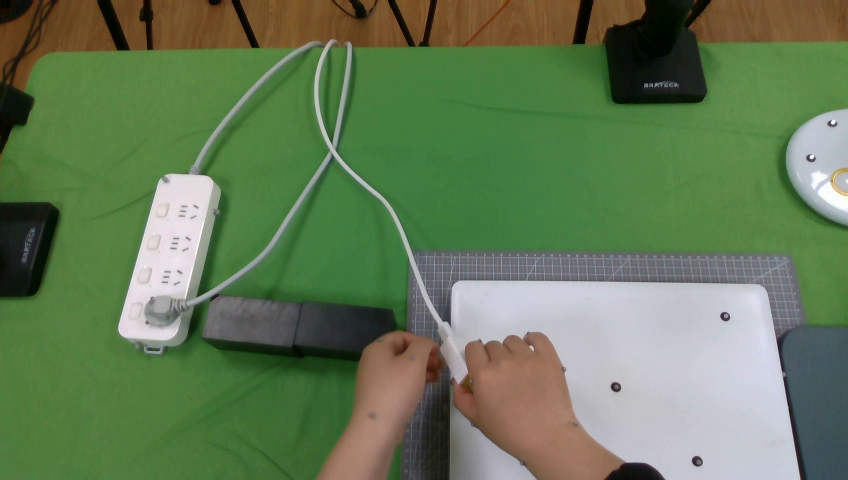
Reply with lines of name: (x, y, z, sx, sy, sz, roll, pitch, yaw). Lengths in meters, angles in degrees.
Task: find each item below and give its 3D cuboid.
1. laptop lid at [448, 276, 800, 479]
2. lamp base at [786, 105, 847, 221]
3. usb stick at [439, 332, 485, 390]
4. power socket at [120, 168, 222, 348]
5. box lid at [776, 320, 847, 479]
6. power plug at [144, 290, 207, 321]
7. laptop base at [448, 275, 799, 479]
laptop lid: (0.202, 0.152, 0.642, 0.356, 0.013, 0.240, 2, 70, 3)
lamp base: (0.530, -0.132, 0.673, 0.160, 0.181, 0.179, 33, 70, 15)
usb stick: (0.038, 0.117, 0.577, 0.027, 0.021, 0.058, 14, 34, -37)
power socket: (-0.297, 0.014, 0.722, 0.072, 0.033, 0.225, 4, 67, 3)
box lid: (0.513, 0.258, 0.603, 0.263, 0.015, 0.368, 1, 68, 1)
power plug: (-0.275, 0.078, 0.674, 0.072, 0.053, 0.035, 15, 68, 6)
laptop base: (0.203, 0.154, 0.655, 0.354, 0.023, 0.234, 1, 71, 3)
